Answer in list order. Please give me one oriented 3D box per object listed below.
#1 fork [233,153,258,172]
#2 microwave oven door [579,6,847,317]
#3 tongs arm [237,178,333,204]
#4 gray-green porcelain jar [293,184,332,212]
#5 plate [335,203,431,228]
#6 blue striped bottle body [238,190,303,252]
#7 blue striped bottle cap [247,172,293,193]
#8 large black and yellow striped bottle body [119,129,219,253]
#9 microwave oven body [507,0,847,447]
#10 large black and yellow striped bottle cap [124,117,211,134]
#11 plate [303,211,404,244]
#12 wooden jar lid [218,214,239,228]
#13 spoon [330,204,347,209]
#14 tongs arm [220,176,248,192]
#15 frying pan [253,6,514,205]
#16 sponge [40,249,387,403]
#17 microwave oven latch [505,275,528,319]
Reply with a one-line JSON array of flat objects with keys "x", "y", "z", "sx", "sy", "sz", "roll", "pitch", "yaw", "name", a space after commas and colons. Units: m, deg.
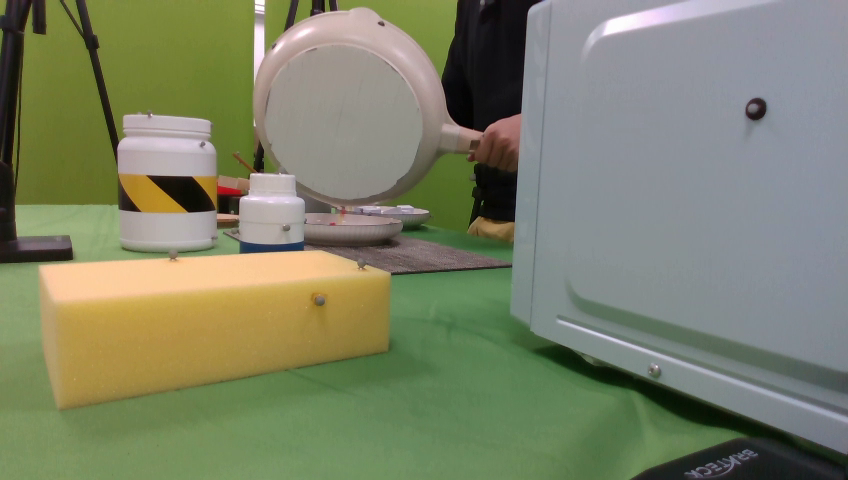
[{"x": -0.396, "y": -0.143, "z": 1.486, "sx": 0.028, "sy": 0.018, "sz": 0.208, "roll": 21, "pitch": -25, "yaw": 45, "name": "fork"}, {"x": 0.294, "y": -0.067, "z": 0.570, "sx": 0.358, "sy": 0.243, "sz": 0.039, "roll": -3, "pitch": 9, "yaw": -31, "name": "microwave oven door"}, {"x": -0.242, "y": -0.095, "z": 1.374, "sx": 0.387, "sy": 0.026, "sz": 0.050, "roll": 9, "pitch": 0, "yaw": -37, "name": "tongs arm"}, {"x": -0.238, "y": -0.092, "z": 1.221, "sx": 0.106, "sy": 0.126, "sz": 0.106, "roll": 2, "pitch": 7, "yaw": 0, "name": "gray-green porcelain jar"}, {"x": -0.089, "y": -0.053, "z": 1.309, "sx": 0.208, "sy": 0.039, "sz": 0.207, "roll": 2, "pitch": 8, "yaw": 0, "name": "plate"}, {"x": -0.153, "y": -0.007, "z": 0.605, "sx": 0.063, "sy": 0.120, "sz": 0.063, "roll": 2, "pitch": 7, "yaw": 0, "name": "blue striped bottle body"}, {"x": -0.152, "y": -0.057, "z": 0.598, "sx": 0.044, "sy": 0.020, "sz": 0.044, "roll": 3, "pitch": 6, "yaw": 0, "name": "blue striped bottle cap"}, {"x": -0.367, "y": -0.080, "z": 0.876, "sx": 0.131, "sy": 0.184, "sz": 0.130, "roll": 2, "pitch": 7, "yaw": 0, "name": "large black and yellow striped bottle body"}, {"x": 0.331, "y": -0.042, "z": 0.425, "sx": 0.444, "sy": 0.260, "sz": 0.324, "roll": -2, "pitch": 8, "yaw": -31, "name": "microwave oven body"}, {"x": -0.366, "y": -0.163, "z": 0.866, "sx": 0.115, "sy": 0.019, "sz": 0.115, "roll": 3, "pitch": 7, "yaw": 0, "name": "large black and yellow striped bottle cap"}, {"x": -0.139, "y": -0.022, "z": 1.021, "sx": 0.209, "sy": 0.038, "sz": 0.209, "roll": 2, "pitch": 8, "yaw": 0, "name": "plate"}, {"x": -0.404, "y": -0.037, "z": 1.169, "sx": 0.108, "sy": 0.020, "sz": 0.108, "roll": 3, "pitch": 7, "yaw": 0, "name": "wooden jar lid"}, {"x": -0.129, "y": -0.108, "z": 1.035, "sx": 0.041, "sy": 0.022, "sz": 0.193, "roll": -23, "pitch": 34, "yaw": 20, "name": "spoon"}, {"x": -0.286, "y": -0.104, "z": 1.445, "sx": 0.389, "sy": 0.027, "sz": 0.028, "roll": 9, "pitch": -4, "yaw": -23, "name": "tongs arm"}, {"x": -0.011, "y": -0.167, "z": 0.903, "sx": 0.489, "sy": 0.306, "sz": 0.102, "roll": 6, "pitch": 28, "yaw": -10, "name": "frying pan"}, {"x": -0.142, "y": 0.047, "z": 0.420, "sx": 0.208, "sy": 0.061, "sz": 0.117, "roll": -3, "pitch": 8, "yaw": -36, "name": "sponge"}, {"x": 0.100, "y": 0.041, "z": 0.471, "sx": 0.079, "sy": 0.029, "sz": 0.030, "roll": -1, "pitch": 7, "yaw": -28, "name": "microwave oven latch"}]
